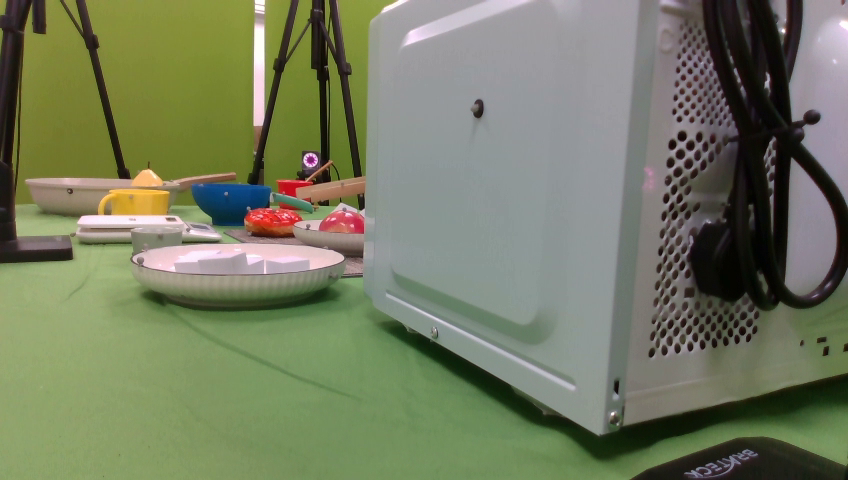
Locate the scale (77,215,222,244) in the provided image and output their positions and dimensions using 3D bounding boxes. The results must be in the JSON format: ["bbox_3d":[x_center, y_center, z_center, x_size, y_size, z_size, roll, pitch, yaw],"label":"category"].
[{"bbox_3d":[-0.434,-0.019,0.963,0.202,0.031,0.148,-1,9,-27],"label":"scale"}]

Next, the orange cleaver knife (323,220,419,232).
[{"bbox_3d":[-0.097,-0.027,1.152,0.077,0.012,0.212,2,7,41],"label":"orange cleaver knife"}]

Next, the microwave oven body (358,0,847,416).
[{"bbox_3d":[0.211,-0.047,0.474,0.444,0.260,0.324,-1,7,-28],"label":"microwave oven body"}]

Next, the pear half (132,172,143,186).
[{"bbox_3d":[-0.638,-0.113,1.361,0.031,0.088,0.070,5,11,4],"label":"pear half"}]

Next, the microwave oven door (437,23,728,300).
[{"bbox_3d":[0.180,-0.072,0.621,0.358,0.243,0.039,-2,8,-29],"label":"microwave oven door"}]

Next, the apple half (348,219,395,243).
[{"bbox_3d":[-0.083,-0.018,0.967,0.081,0.033,0.081,5,10,-1],"label":"apple half"}]

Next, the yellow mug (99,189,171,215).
[{"bbox_3d":[-0.519,-0.055,1.080,0.099,0.064,0.131,7,9,26],"label":"yellow mug"}]

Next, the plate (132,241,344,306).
[{"bbox_3d":[-0.187,0.033,0.625,0.208,0.039,0.207,2,8,0],"label":"plate"}]

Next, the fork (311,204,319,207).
[{"bbox_3d":[-0.356,-0.105,1.526,0.208,0.018,0.028,16,-6,-41],"label":"fork"}]

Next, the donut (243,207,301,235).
[{"bbox_3d":[-0.261,-0.032,1.043,0.099,0.048,0.099,4,9,0],"label":"donut"}]

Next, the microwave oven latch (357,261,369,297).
[{"bbox_3d":[-0.019,0.033,0.531,0.079,0.029,0.030,-1,7,-27],"label":"microwave oven latch"}]

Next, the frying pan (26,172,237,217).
[{"bbox_3d":[-0.624,-0.118,1.387,0.305,0.102,0.490,8,17,32],"label":"frying pan"}]

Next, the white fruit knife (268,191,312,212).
[{"bbox_3d":[-0.364,-0.105,1.464,0.208,0.027,0.016,15,0,-34],"label":"white fruit knife"}]

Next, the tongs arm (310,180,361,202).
[{"bbox_3d":[-0.084,-0.134,1.344,0.387,0.026,0.050,-15,16,-32],"label":"tongs arm"}]

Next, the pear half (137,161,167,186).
[{"bbox_3d":[-0.602,-0.120,1.354,0.056,0.110,0.076,4,11,6],"label":"pear half"}]

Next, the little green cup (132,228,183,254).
[{"bbox_3d":[-0.342,0.006,0.779,0.061,0.038,0.061,2,8,0],"label":"little green cup"}]

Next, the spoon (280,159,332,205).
[{"bbox_3d":[-0.316,-0.159,1.640,0.194,0.022,0.041,-50,32,-20],"label":"spoon"}]

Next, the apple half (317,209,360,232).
[{"bbox_3d":[-0.122,-0.020,0.900,0.080,0.053,0.075,3,10,14],"label":"apple half"}]

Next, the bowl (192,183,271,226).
[{"bbox_3d":[-0.382,-0.071,1.202,0.151,0.077,0.151,3,7,0],"label":"bowl"}]

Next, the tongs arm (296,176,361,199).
[{"bbox_3d":[-0.108,-0.139,1.376,0.389,0.028,0.028,-14,12,-32],"label":"tongs arm"}]

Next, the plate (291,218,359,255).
[{"bbox_3d":[-0.098,-0.007,0.928,0.209,0.038,0.209,2,8,0],"label":"plate"}]
